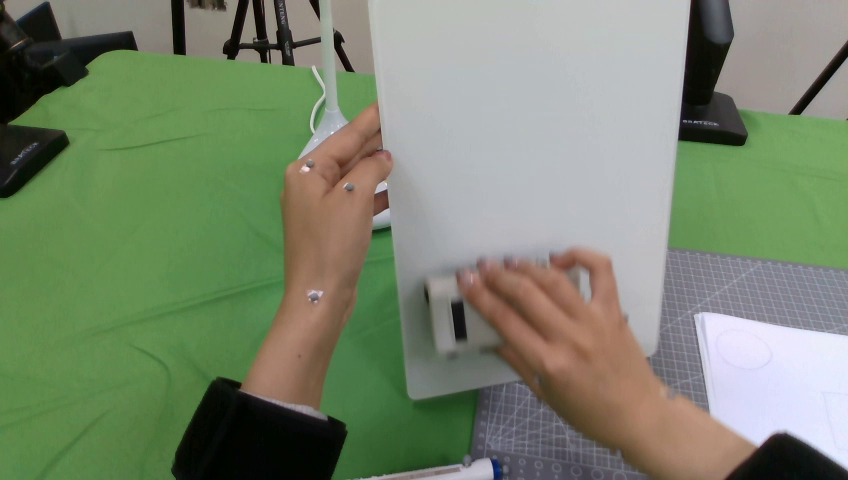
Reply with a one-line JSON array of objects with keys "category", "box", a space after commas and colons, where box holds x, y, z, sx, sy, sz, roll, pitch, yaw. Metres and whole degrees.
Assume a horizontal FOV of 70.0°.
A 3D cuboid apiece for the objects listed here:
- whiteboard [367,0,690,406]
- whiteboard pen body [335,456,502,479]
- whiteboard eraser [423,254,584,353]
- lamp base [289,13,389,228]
[{"category": "whiteboard", "box": [0.070, -0.049, 0.499, 0.217, 0.307, 0.142, -8, 23, -9]}, {"category": "whiteboard pen body", "box": [-0.015, 0.167, 0.421, 0.141, 0.017, 0.017, -5, 42, -8]}, {"category": "whiteboard eraser", "box": [0.058, 0.045, 0.442, 0.113, 0.056, 0.041, -9, 19, -6]}, {"category": "lamp base", "box": [-0.077, -0.131, 0.635, 0.161, 0.182, 0.177, -27, 47, -28]}]
